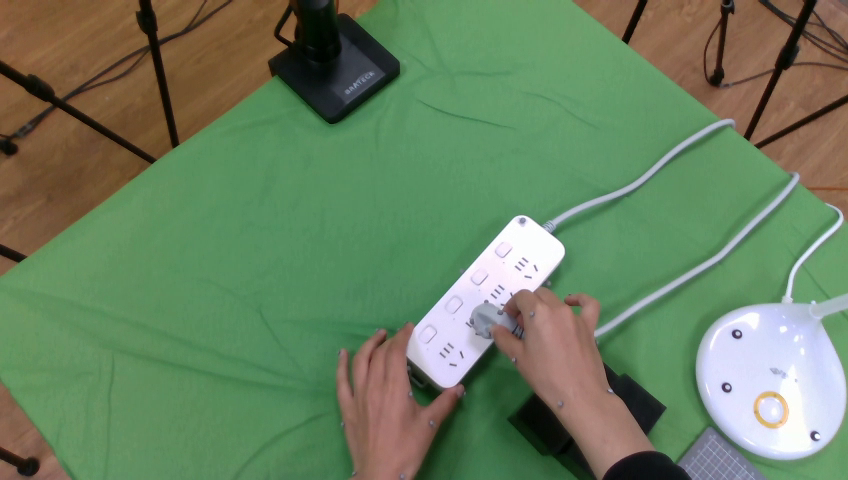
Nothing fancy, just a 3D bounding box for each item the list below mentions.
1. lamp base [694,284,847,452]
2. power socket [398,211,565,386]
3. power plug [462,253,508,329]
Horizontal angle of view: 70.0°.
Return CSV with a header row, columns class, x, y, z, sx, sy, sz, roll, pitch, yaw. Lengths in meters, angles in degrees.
class,x,y,z,sx,sy,sz,roll,pitch,yaw
lamp base,0.372,0.102,0.575,0.160,0.181,0.178,17,67,3
power socket,0.064,0.059,0.650,0.072,0.033,0.226,41,72,10
power plug,0.064,0.056,0.614,0.035,0.052,0.072,36,58,-28
